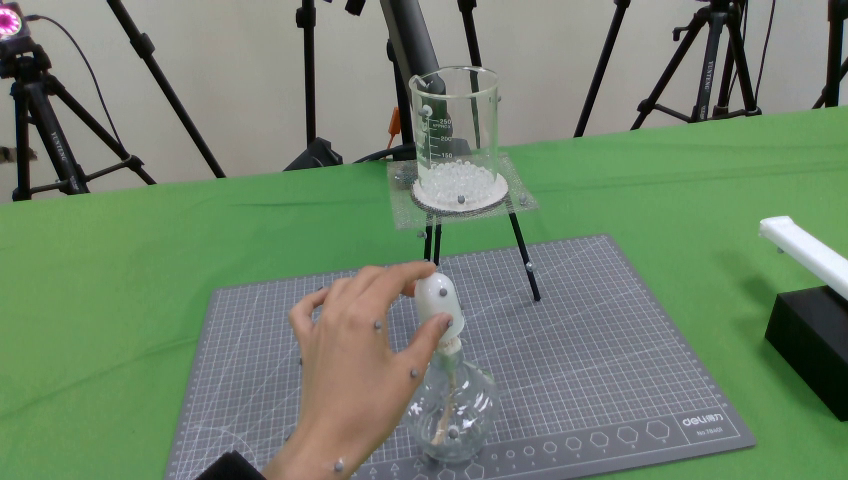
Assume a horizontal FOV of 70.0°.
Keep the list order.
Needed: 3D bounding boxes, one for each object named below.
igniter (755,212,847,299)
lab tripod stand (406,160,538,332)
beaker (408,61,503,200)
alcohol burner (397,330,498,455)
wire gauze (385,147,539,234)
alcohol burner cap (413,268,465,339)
[{"bbox_3d":[0.364,0.049,0.487,0.057,0.025,0.273,-9,31,-5],"label":"igniter"},{"bbox_3d":[0.038,0.000,0.582,0.148,0.132,0.147,-2,33,2],"label":"lab tripod stand"},{"bbox_3d":[0.025,-0.092,0.515,0.074,0.101,0.083,-28,41,-32],"label":"beaker"},{"bbox_3d":[0.017,0.104,0.451,0.078,0.120,0.077,-2,37,2],"label":"alcohol burner"},{"bbox_3d":[0.028,-0.052,0.542,0.121,0.011,0.123,-8,36,-3],"label":"wire gauze"},{"bbox_3d":[0.009,0.040,0.415,0.034,0.048,0.033,-8,36,6],"label":"alcohol burner cap"}]
